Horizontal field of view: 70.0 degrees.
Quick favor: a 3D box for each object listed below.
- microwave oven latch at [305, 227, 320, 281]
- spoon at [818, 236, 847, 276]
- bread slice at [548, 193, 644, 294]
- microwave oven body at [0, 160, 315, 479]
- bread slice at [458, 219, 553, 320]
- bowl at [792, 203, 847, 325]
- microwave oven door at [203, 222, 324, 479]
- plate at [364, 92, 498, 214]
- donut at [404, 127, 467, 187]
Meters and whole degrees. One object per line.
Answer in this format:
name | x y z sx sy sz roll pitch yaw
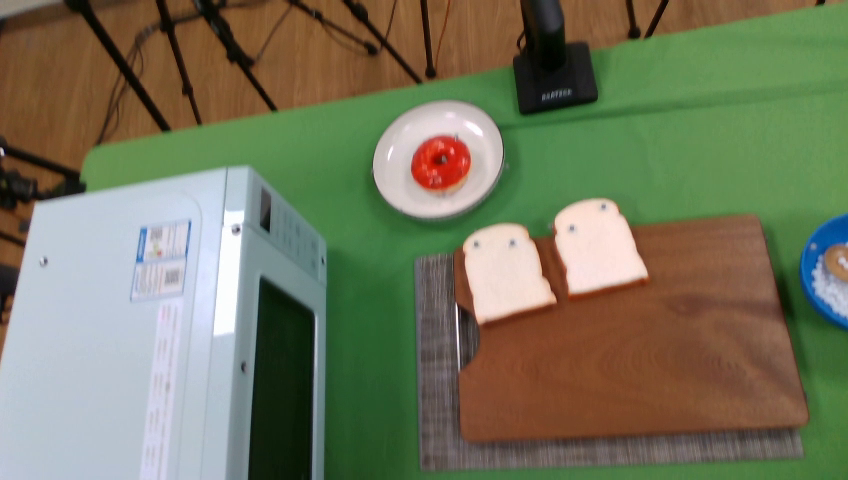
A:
microwave oven latch | -0.169 0.022 0.893 0.030 0.030 0.078 -8 68 11
spoon | 0.515 0.063 0.664 0.041 0.022 0.191 -26 45 -3
bread slice | 0.218 -0.001 0.803 0.105 0.019 0.130 -15 65 6
microwave oven body | -0.324 0.171 0.766 0.325 0.262 0.438 -9 67 10
bread slice | 0.100 0.036 0.817 0.107 0.018 0.133 -20 64 5
bowl | 0.507 0.039 0.711 0.151 0.077 0.150 -5 68 12
microwave oven door | -0.180 0.185 0.718 0.039 0.246 0.353 -9 66 11
plate | 0.012 -0.130 0.929 0.207 0.039 0.206 -5 68 12
donut | 0.017 -0.125 0.912 0.099 0.049 0.098 -6 67 16
